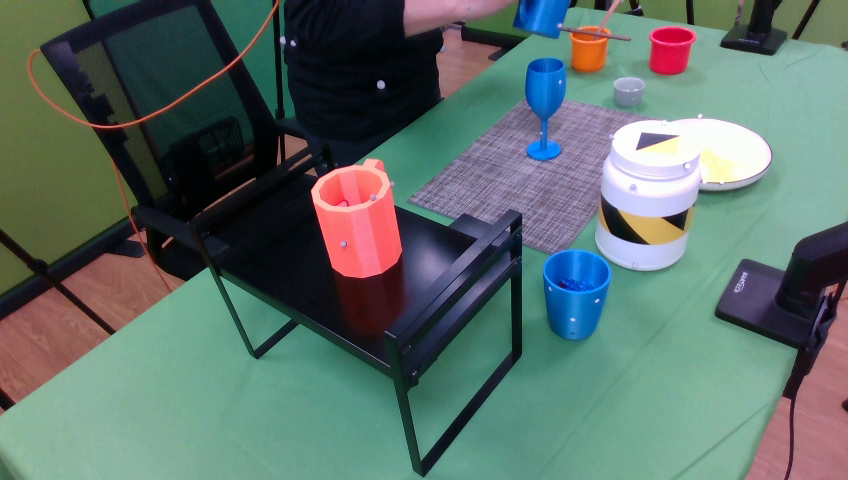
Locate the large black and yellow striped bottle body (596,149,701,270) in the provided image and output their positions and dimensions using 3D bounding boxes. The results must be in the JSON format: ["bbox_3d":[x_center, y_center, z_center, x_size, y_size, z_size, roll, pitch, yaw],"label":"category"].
[{"bbox_3d":[0.323,-0.062,0.877,0.131,0.185,0.130,-4,40,4],"label":"large black and yellow striped bottle body"}]

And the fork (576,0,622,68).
[{"bbox_3d":[0.409,-0.484,1.381,0.028,0.019,0.207,37,101,46],"label":"fork"}]

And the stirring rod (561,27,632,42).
[{"bbox_3d":[0.381,-0.462,1.356,0.175,0.006,0.014,22,49,30],"label":"stirring rod"}]

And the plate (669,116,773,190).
[{"bbox_3d":[0.495,-0.149,1.063,0.209,0.038,0.208,-5,40,5],"label":"plate"}]

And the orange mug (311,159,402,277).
[{"bbox_3d":[-0.070,-0.034,0.694,0.083,0.101,0.126,5,46,16],"label":"orange mug"}]

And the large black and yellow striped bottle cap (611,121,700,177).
[{"bbox_3d":[0.314,-0.126,0.823,0.115,0.019,0.114,-4,42,4],"label":"large black and yellow striped bottle cap"}]

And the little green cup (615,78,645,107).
[{"bbox_3d":[0.426,-0.306,1.257,0.061,0.039,0.061,-5,40,4],"label":"little green cup"}]

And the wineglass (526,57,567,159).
[{"bbox_3d":[0.221,-0.237,1.097,0.074,0.173,0.073,-4,41,4],"label":"wineglass"}]

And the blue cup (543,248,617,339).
[{"bbox_3d":[0.199,0.076,0.797,0.092,0.100,0.092,-4,39,4],"label":"blue cup"}]

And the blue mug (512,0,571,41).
[{"bbox_3d":[0.194,-0.400,1.010,0.081,0.106,0.117,28,22,35],"label":"blue mug"}]
